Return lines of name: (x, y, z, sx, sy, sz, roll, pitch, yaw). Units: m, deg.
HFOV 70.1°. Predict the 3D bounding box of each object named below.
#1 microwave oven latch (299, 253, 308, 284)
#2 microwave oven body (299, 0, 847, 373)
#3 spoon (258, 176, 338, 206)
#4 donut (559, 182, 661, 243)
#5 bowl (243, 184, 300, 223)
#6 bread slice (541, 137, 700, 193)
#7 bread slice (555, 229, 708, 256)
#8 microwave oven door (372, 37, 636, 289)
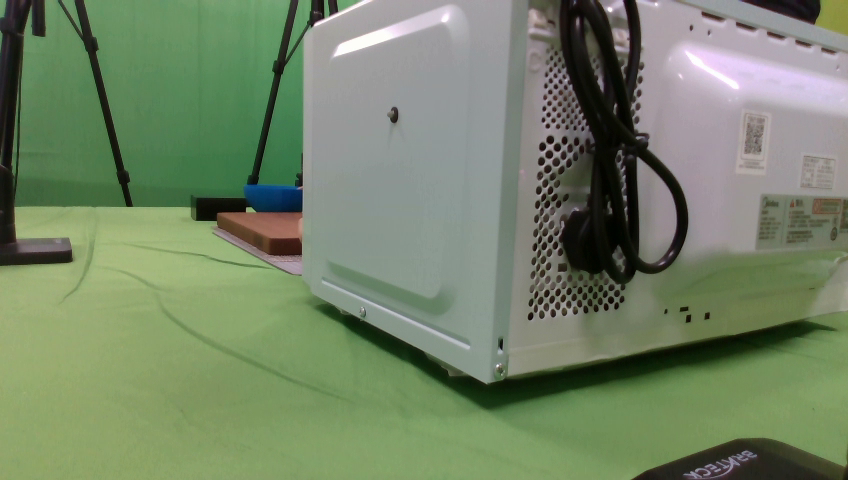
microwave oven latch: (-0.081, 0.027, 0.585, 0.079, 0.029, 0.030, -2, 8, -38)
microwave oven body: (0.152, -0.055, 0.542, 0.444, 0.260, 0.324, -2, 7, -32)
spoon: (-0.279, -0.112, 1.356, 0.194, 0.021, 0.041, -27, 18, -27)
donut: (0.185, -0.029, 0.606, 0.099, 0.048, 0.099, 11, -10, 2)
bowl: (-0.321, -0.081, 1.333, 0.151, 0.077, 0.151, 3, 8, 0)
bread slice: (0.197, -0.074, 0.594, 0.107, 0.018, 0.133, -1, 22, -41)
bread slice: (0.204, 0.001, 0.582, 0.105, 0.019, 0.131, 5, 0, -18)
microwave oven door: (0.110, -0.079, 0.686, 0.358, 0.243, 0.039, -2, 9, -33)
